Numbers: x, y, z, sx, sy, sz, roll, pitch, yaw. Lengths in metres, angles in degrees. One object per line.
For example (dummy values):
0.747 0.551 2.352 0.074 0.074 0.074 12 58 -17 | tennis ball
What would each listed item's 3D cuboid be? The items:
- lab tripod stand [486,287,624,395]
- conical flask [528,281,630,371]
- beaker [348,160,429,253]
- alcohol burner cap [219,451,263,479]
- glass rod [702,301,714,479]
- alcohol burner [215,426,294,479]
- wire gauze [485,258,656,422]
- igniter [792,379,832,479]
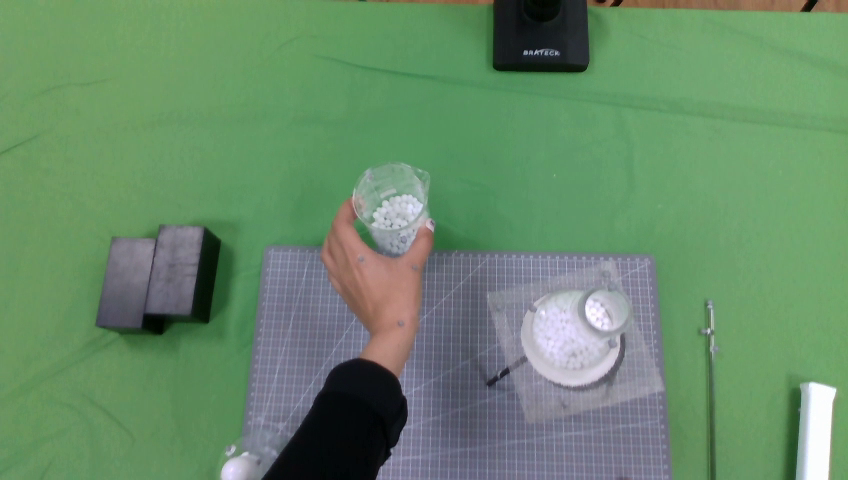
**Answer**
0.132 0.108 0.600 0.148 0.132 0.147 0 75 2 | lab tripod stand
0.128 0.064 0.482 0.075 0.122 0.075 0 75 1 | conical flask
-0.030 -0.032 0.635 0.084 0.101 0.073 -34 75 -6 | beaker
-0.167 0.208 0.548 0.034 0.048 0.033 1 72 -3 | alcohol burner cap
0.303 0.163 0.648 0.008 0.008 0.198 6 73 3 | glass rod
-0.167 0.220 0.583 0.078 0.119 0.077 0 74 0 | alcohol burner
0.129 0.087 0.537 0.125 0.011 0.121 -14 76 -5 | wire gauze
0.379 0.277 0.602 0.057 0.025 0.275 16 74 -5 | igniter
